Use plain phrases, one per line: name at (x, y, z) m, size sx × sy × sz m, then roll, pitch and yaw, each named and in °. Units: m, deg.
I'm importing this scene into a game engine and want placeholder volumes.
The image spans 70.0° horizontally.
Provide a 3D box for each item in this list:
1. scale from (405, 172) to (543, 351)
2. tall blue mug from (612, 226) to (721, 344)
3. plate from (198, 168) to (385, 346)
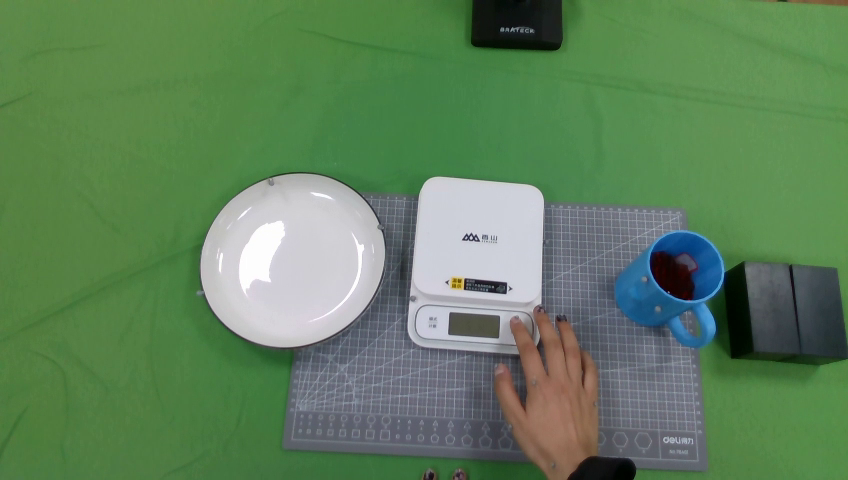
scale at (0.059, 0.021, 0.693) m, size 0.149 × 0.032 × 0.199 m, roll 5°, pitch 72°, yaw 1°
tall blue mug at (0.267, 0.049, 0.646) m, size 0.107 × 0.108 × 0.077 m, roll 39°, pitch 75°, yaw 11°
plate at (-0.147, 0.019, 0.688) m, size 0.209 × 0.038 × 0.207 m, roll 0°, pitch 71°, yaw 1°
